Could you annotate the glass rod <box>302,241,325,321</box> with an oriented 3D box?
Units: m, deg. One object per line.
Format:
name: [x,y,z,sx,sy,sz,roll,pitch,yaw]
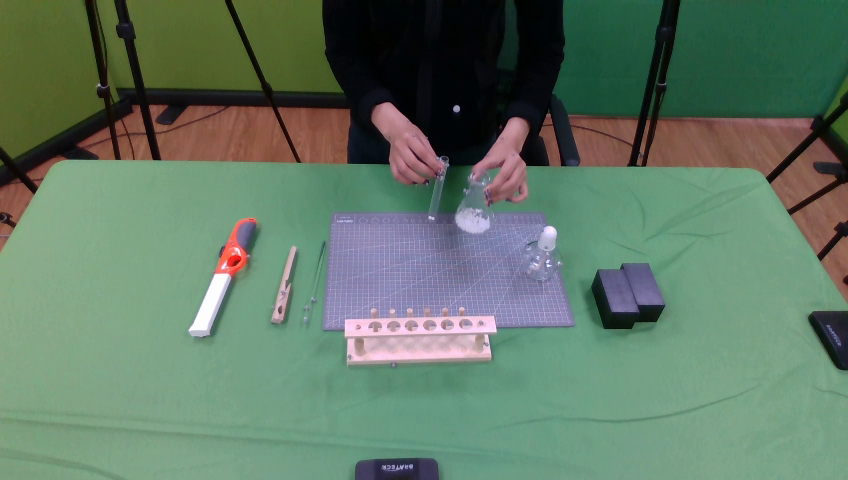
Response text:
glass rod: [-0.204,0.071,1.124,0.008,0.008,0.198,4,44,0]

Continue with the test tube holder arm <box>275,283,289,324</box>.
test tube holder arm: [-0.254,0.111,1.077,0.010,0.015,0.087,29,38,-27]

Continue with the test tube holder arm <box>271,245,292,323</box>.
test tube holder arm: [-0.259,0.076,1.106,0.013,0.015,0.177,28,38,-28]

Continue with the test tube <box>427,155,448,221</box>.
test tube: [0.023,-0.090,1.100,0.017,0.151,0.017,6,45,-6]

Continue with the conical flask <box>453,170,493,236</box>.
conical flask: [0.094,-0.071,1.091,0.075,0.122,0.075,2,51,-2]

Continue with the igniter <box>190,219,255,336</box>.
igniter: [-0.365,0.058,1.110,0.057,0.025,0.275,-1,45,8]

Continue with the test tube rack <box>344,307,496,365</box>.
test tube rack: [-0.009,0.154,1.007,0.242,0.085,0.066,-1,46,-5]

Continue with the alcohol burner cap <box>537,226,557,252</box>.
alcohol burner cap: [0.226,-0.004,1.104,0.034,0.048,0.033,0,50,1]

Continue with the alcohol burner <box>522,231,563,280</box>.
alcohol burner: [0.224,0.020,1.131,0.078,0.119,0.077,4,46,-4]
